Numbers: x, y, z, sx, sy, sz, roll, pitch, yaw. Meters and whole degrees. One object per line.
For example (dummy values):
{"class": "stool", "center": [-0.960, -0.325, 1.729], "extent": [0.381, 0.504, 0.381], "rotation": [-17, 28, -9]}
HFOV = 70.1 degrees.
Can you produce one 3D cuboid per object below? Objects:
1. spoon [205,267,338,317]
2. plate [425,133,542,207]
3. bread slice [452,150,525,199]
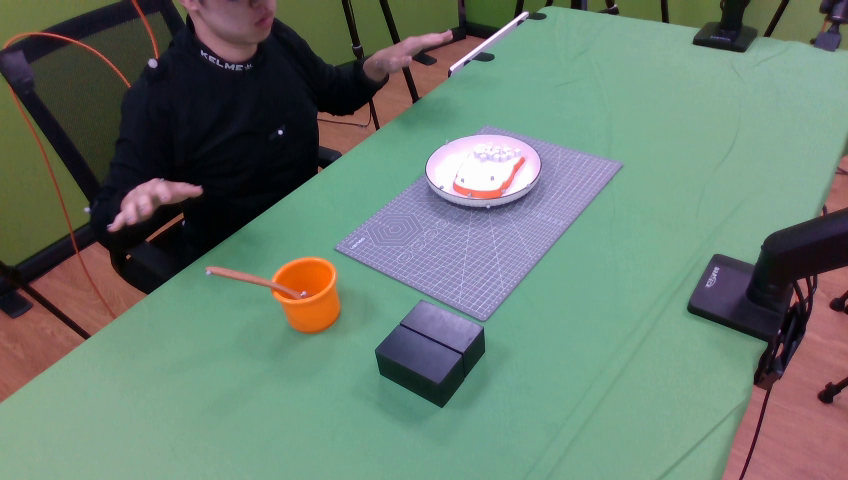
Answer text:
{"class": "spoon", "center": [-0.202, 0.067, 0.822], "extent": [0.021, 0.195, 0.041], "rotation": [-45, 38, 24]}
{"class": "plate", "center": [0.106, -0.121, 1.079], "extent": [0.209, 0.038, 0.208], "rotation": [-4, 41, 4]}
{"class": "bread slice", "center": [0.112, -0.118, 1.079], "extent": [0.104, 0.019, 0.131], "rotation": [11, 42, 21]}
